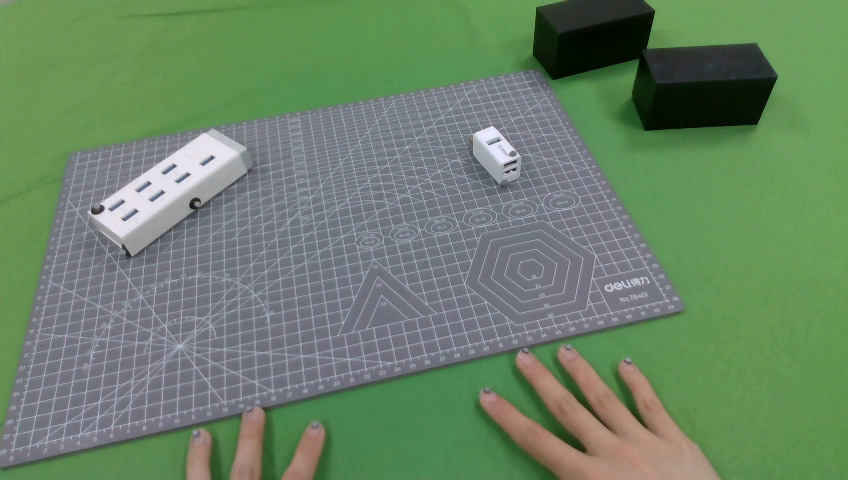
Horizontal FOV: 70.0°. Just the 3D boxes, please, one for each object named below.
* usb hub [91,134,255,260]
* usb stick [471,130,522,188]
[{"bbox_3d":[-0.204,-0.039,0.500,0.049,0.025,0.125,29,57,26],"label":"usb hub"},{"bbox_3d":[0.058,-0.072,0.508,0.021,0.027,0.058,-25,49,-12],"label":"usb stick"}]
